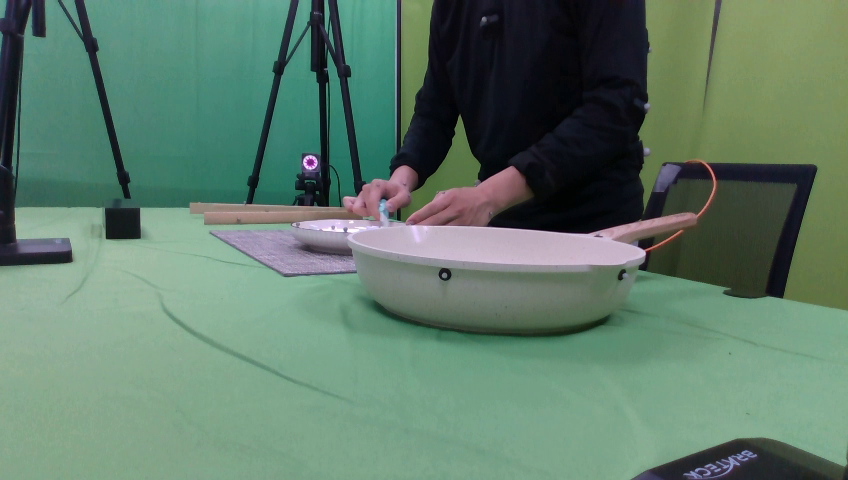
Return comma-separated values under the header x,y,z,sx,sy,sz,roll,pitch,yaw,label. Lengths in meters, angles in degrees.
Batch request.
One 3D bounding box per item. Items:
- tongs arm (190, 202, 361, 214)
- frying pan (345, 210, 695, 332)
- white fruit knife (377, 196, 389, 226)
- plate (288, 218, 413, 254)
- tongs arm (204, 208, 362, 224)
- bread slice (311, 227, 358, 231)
x,y,z,sx,sy,sz,roll,pitch,yaw,label
-0.334,-0.068,1.403,0.387,0.026,0.050,0,9,-28,tongs arm
0.153,0.009,0.668,0.490,0.102,0.305,-12,15,-32,frying pan
-0.067,-0.044,0.994,0.016,0.027,0.207,-35,15,6,white fruit knife
-0.109,-0.007,0.956,0.208,0.039,0.207,2,7,0,plate
-0.292,-0.054,1.337,0.390,0.028,0.028,-4,7,-40,tongs arm
-0.115,-0.006,0.950,0.134,0.018,0.107,3,6,-7,bread slice
